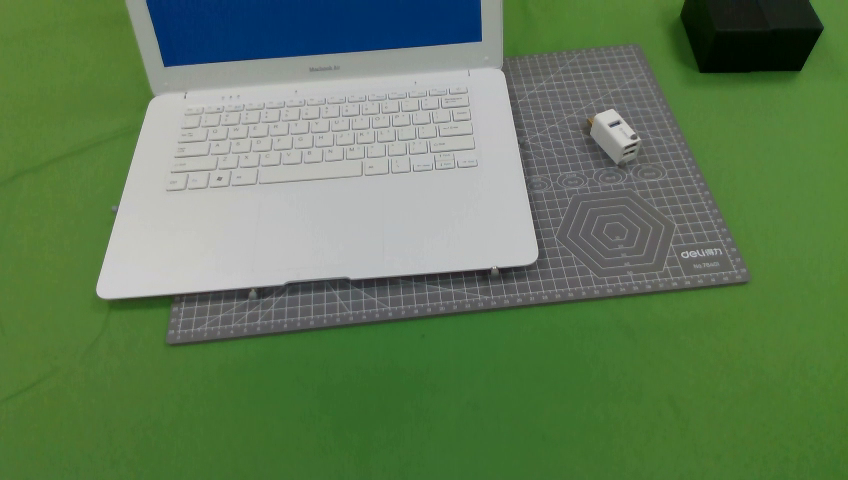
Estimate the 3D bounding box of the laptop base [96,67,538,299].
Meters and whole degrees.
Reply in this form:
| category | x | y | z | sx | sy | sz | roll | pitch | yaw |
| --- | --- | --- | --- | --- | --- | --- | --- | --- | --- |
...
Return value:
| category | x | y | z | sx | sy | sz | roll | pitch | yaw |
| --- | --- | --- | --- | --- | --- | --- | --- | --- | --- |
| laptop base | -0.091 | -0.059 | 0.543 | 0.354 | 0.023 | 0.233 | -5 | 57 | 0 |

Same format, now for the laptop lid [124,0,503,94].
| category | x | y | z | sx | sy | sz | roll | pitch | yaw |
| --- | --- | --- | --- | --- | --- | --- | --- | --- | --- |
| laptop lid | -0.106 | -0.257 | 0.553 | 0.357 | 0.243 | 0.013 | -6 | 29 | 1 |

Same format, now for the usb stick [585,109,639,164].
| category | x | y | z | sx | sy | sz | roll | pitch | yaw |
| --- | --- | --- | --- | --- | --- | --- | --- | --- | --- |
| usb stick | 0.167 | -0.098 | 0.548 | 0.021 | 0.027 | 0.058 | -22 | 54 | -11 |
